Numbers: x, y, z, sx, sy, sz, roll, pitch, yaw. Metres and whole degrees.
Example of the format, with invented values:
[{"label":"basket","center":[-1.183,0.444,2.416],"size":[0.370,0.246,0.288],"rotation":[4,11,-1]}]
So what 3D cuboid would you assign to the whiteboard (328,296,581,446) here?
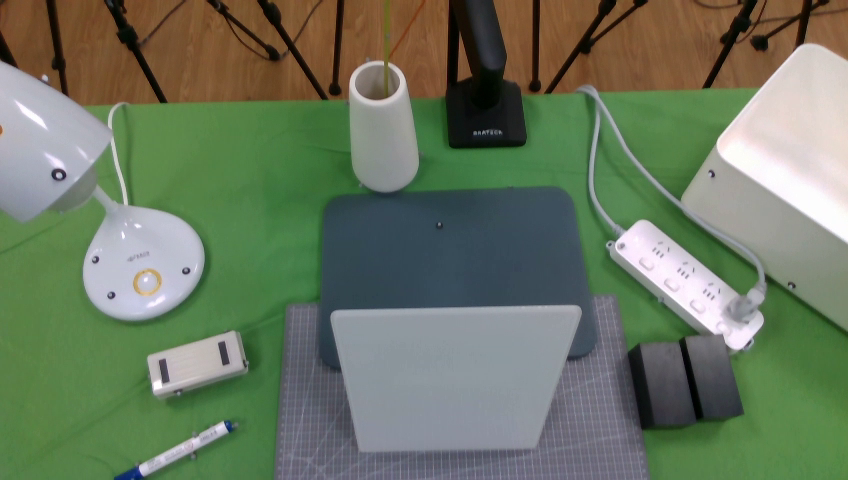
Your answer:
[{"label":"whiteboard","center":[0.027,0.100,0.669],"size":[0.217,0.308,0.142],"rotation":[0,50,0]}]

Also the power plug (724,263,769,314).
[{"label":"power plug","center":[0.424,0.069,0.789],"size":[0.072,0.053,0.035],"rotation":[-29,68,-18]}]

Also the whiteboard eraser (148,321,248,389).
[{"label":"whiteboard eraser","center":[-0.284,0.145,0.765],"size":[0.113,0.042,0.055],"rotation":[-17,69,-8]}]

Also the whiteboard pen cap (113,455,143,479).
[{"label":"whiteboard pen cap","center":[-0.349,0.269,0.720],"size":[0.033,0.018,0.018],"rotation":[-28,68,-10]}]

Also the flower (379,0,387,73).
[{"label":"flower","center":[-0.052,-0.211,0.752],"size":[0.044,0.364,0.038],"rotation":[33,53,20]}]

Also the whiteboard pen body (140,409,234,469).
[{"label":"whiteboard pen body","center":[-0.297,0.245,0.731],"size":[0.141,0.017,0.017],"rotation":[-28,68,-12]}]

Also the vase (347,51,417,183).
[{"label":"vase","center":[-0.057,-0.161,0.821],"size":[0.098,0.201,0.097],"rotation":[1,64,-1]}]

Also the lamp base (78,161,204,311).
[{"label":"lamp base","center":[-0.389,-0.021,0.762],"size":[0.160,0.181,0.177],"rotation":[-31,67,-14]}]

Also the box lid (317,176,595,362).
[{"label":"box lid","center":[0.041,0.032,0.838],"size":[0.372,0.015,0.261],"rotation":[-3,65,-2]}]

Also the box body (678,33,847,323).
[{"label":"box body","center":[0.564,-0.063,0.805],"size":[0.362,0.161,0.254],"rotation":[40,71,16]}]

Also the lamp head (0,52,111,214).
[{"label":"lamp head","center":[-0.344,-0.101,0.495],"size":[0.112,0.124,0.111],"rotation":[-29,33,22]}]

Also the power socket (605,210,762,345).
[{"label":"power socket","center":[0.351,0.048,0.823],"size":[0.072,0.033,0.225],"rotation":[-40,72,-17]}]
